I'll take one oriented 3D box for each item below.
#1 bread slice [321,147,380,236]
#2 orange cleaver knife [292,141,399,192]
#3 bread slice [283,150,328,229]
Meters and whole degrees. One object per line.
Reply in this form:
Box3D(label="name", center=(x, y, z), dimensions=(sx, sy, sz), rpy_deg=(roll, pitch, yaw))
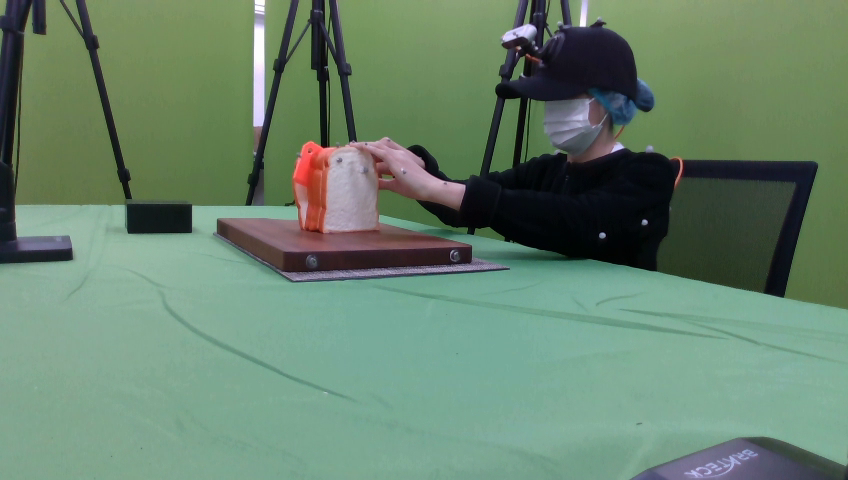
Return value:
Box3D(label="bread slice", center=(-0.115, -0.074, 0.920), dimensions=(0.018, 0.134, 0.107), rpy_deg=(5, 11, 43))
Box3D(label="orange cleaver knife", center=(-0.122, -0.108, 0.979), dimensions=(0.012, 0.077, 0.212), rpy_deg=(7, 2, 43))
Box3D(label="bread slice", center=(-0.173, -0.084, 0.981), dimensions=(0.105, 0.131, 0.019), rpy_deg=(-10, 36, -40))
